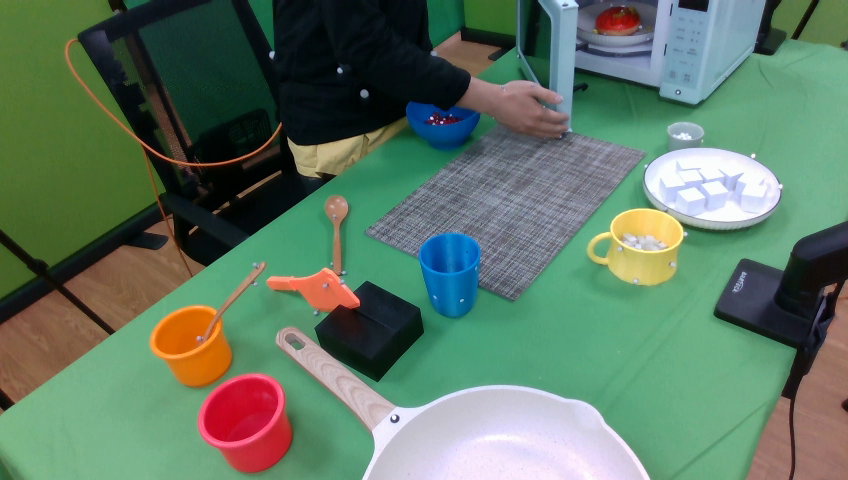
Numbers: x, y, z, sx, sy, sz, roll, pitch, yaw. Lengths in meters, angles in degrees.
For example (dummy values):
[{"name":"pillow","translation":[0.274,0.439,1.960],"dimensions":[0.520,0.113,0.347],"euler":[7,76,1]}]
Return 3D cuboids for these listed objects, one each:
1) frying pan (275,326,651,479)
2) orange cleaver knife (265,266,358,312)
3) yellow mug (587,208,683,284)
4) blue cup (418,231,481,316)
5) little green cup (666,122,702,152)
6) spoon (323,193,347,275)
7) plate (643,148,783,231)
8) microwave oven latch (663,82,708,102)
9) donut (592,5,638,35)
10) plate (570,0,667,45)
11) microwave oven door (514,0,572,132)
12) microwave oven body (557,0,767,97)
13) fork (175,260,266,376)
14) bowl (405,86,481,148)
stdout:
[{"name":"frying pan","translation":[0.004,0.229,0.641],"dimensions":[0.484,0.103,0.308],"euler":[34,54,28]},{"name":"orange cleaver knife","translation":[-0.164,0.073,0.864],"dimensions":[0.210,0.077,0.012],"euler":[-6,31,50]},{"name":"yellow mug","translation":[0.305,0.009,0.884],"dimensions":[0.131,0.064,0.099],"euler":[-4,41,5]},{"name":"blue cup","translation":[0.039,0.053,0.843],"dimensions":[0.092,0.100,0.092],"euler":[-4,43,4]},{"name":"little green cup","translation":[0.471,-0.184,1.102],"dimensions":[0.061,0.039,0.061],"euler":[-5,41,5]},{"name":"spoon","translation":[-0.148,-0.014,1.008],"dimensions":[0.042,0.022,0.192],"euler":[0,40,-8]},{"name":"plate","translation":[0.464,-0.080,0.986],"dimensions":[0.207,0.039,0.206],"euler":[-4,41,4]},{"name":"microwave oven latch","translation":[0.518,-0.298,1.202],"dimensions":[0.030,0.029,0.078],"euler":[-37,48,-29]},{"name":"donut","translation":[0.427,-0.491,1.349],"dimensions":[0.099,0.048,0.098],"euler":[-6,38,5]},{"name":"plate","translation":[0.437,-0.491,1.364],"dimensions":[0.209,0.038,0.208],"euler":[-6,42,6]},{"name":"microwave oven door","translation":[0.235,-0.413,1.220],"dimensions":[0.039,0.245,0.353],"euler":[-8,41,-1]},{"name":"microwave oven body","translation":[0.473,-0.516,1.313],"dimensions":[0.438,0.261,0.327],"euler":[26,51,34]},{"name":"fork","translation":[-0.268,0.103,0.792],"dimensions":[0.207,0.019,0.028],"euler":[-51,40,16]},{"name":"bowl","translation":[0.040,-0.236,1.197],"dimensions":[0.151,0.077,0.150],"euler":[-3,40,3]}]
